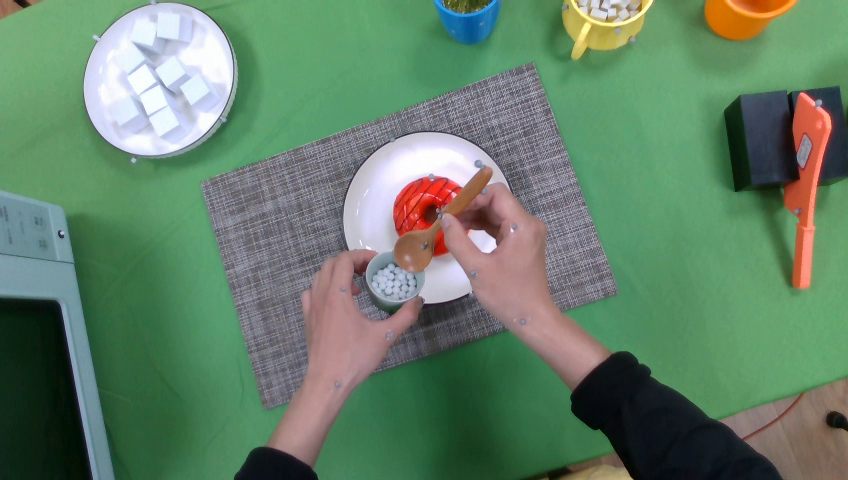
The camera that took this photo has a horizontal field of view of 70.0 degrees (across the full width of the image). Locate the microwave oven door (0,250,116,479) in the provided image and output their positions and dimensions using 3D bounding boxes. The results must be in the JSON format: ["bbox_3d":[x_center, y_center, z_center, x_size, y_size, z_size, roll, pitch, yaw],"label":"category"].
[{"bbox_3d":[-0.432,0.182,0.637,0.039,0.244,0.354,-16,82,5],"label":"microwave oven door"}]

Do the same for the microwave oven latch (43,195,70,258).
[{"bbox_3d":[-0.473,-0.016,0.766,0.030,0.029,0.079,-14,83,5],"label":"microwave oven latch"}]

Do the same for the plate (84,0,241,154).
[{"bbox_3d":[-0.335,-0.210,0.789,0.207,0.039,0.207,-1,84,7],"label":"plate"}]

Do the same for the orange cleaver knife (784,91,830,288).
[{"bbox_3d":[0.409,-0.052,0.658,0.012,0.077,0.213,-4,113,9],"label":"orange cleaver knife"}]

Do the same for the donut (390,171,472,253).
[{"bbox_3d":[0.008,-0.033,0.712,0.099,0.048,0.099,-1,85,8],"label":"donut"}]

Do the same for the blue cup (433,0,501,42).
[{"bbox_3d":[0.052,-0.284,0.718,0.092,0.100,0.092,-1,85,6],"label":"blue cup"}]

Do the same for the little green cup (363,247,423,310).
[{"bbox_3d":[-0.033,0.043,0.631,0.062,0.039,0.061,5,58,-7],"label":"little green cup"}]

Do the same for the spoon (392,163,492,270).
[{"bbox_3d":[0.013,-0.017,0.552,0.041,0.194,0.021,47,60,1],"label":"spoon"}]

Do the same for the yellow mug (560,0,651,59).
[{"bbox_3d":[0.207,-0.273,0.715,0.099,0.064,0.131,30,89,9],"label":"yellow mug"}]

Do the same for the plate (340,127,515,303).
[{"bbox_3d":[0.005,-0.029,0.724,0.209,0.038,0.208,-1,84,7],"label":"plate"}]

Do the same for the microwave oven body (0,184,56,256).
[{"bbox_3d":[-0.582,0.181,0.660,0.326,0.261,0.440,-16,83,5],"label":"microwave oven body"}]
